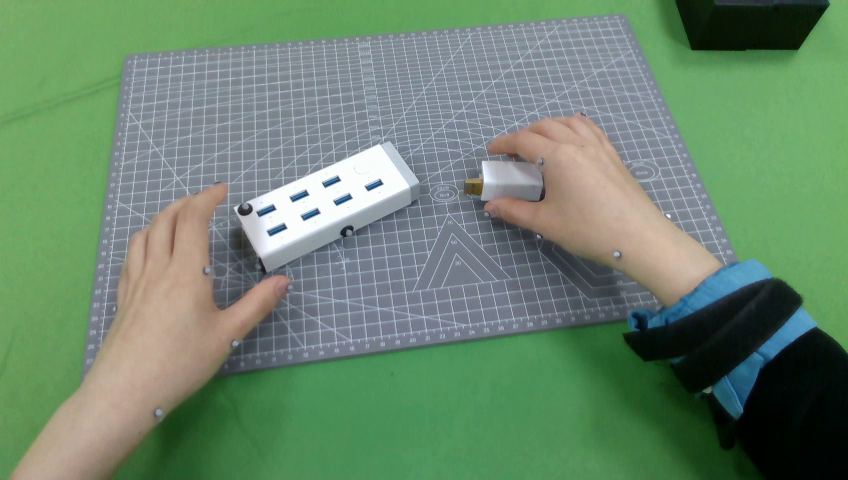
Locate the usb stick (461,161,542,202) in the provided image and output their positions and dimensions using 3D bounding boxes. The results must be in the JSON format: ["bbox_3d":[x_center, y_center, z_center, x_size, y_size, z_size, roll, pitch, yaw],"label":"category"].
[{"bbox_3d":[0.056,-0.044,0.453,0.059,0.022,0.027,-2,50,-6],"label":"usb stick"}]

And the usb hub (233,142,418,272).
[{"bbox_3d":[-0.069,-0.027,0.439,0.125,0.025,0.049,-26,63,-16],"label":"usb hub"}]
